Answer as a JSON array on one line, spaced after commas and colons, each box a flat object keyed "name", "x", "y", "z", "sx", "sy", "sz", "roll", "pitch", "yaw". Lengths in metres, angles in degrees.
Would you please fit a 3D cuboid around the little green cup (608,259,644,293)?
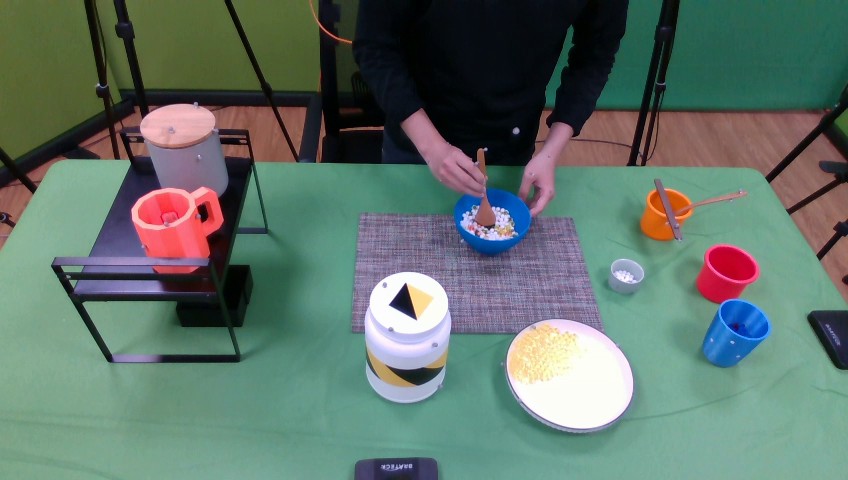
[{"name": "little green cup", "x": 0.379, "y": 0.070, "z": 1.147, "sx": 0.061, "sy": 0.039, "sz": 0.061, "roll": 3, "pitch": 45, "yaw": -2}]

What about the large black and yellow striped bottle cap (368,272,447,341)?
[{"name": "large black and yellow striped bottle cap", "x": -0.023, "y": 0.093, "z": 0.875, "sx": 0.115, "sy": 0.019, "sz": 0.114, "roll": 3, "pitch": 46, "yaw": -3}]

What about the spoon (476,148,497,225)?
[{"name": "spoon", "x": 0.111, "y": -0.096, "z": 1.140, "sx": 0.041, "sy": 0.195, "sz": 0.021, "roll": 0, "pitch": 43, "yaw": 13}]

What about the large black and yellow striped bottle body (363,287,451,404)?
[{"name": "large black and yellow striped bottle body", "x": -0.027, "y": 0.153, "z": 0.935, "sx": 0.131, "sy": 0.185, "sz": 0.130, "roll": 2, "pitch": 46, "yaw": -2}]

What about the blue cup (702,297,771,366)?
[{"name": "blue cup", "x": 0.519, "y": 0.162, "z": 1.025, "sx": 0.093, "sy": 0.101, "sz": 0.092, "roll": 3, "pitch": 45, "yaw": -3}]

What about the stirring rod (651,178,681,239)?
[{"name": "stirring rod", "x": 0.480, "y": -0.065, "z": 1.204, "sx": 0.014, "sy": 0.006, "sz": 0.175, "roll": 3, "pitch": 46, "yaw": -3}]

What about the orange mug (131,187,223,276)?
[{"name": "orange mug", "x": -0.354, "y": -0.022, "z": 0.888, "sx": 0.083, "sy": 0.101, "sz": 0.126, "roll": 31, "pitch": 55, "yaw": 24}]

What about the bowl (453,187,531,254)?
[{"name": "bowl", "x": 0.128, "y": -0.026, "z": 1.187, "sx": 0.151, "sy": 0.077, "sz": 0.150, "roll": 2, "pitch": 46, "yaw": -2}]

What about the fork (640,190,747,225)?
[{"name": "fork", "x": 0.533, "y": -0.065, "z": 1.211, "sx": 0.207, "sy": 0.019, "sz": 0.028, "roll": -22, "pitch": 28, "yaw": 39}]

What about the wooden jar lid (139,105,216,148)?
[{"name": "wooden jar lid", "x": -0.372, "y": -0.169, "z": 0.920, "sx": 0.108, "sy": 0.021, "sz": 0.107, "roll": 4, "pitch": 44, "yaw": -4}]

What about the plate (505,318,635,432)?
[{"name": "plate", "x": 0.235, "y": 0.221, "z": 0.991, "sx": 0.209, "sy": 0.038, "sz": 0.208, "roll": 2, "pitch": 46, "yaw": -2}]

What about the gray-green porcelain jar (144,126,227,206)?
[{"name": "gray-green porcelain jar", "x": -0.375, "y": -0.125, "z": 0.967, "sx": 0.106, "sy": 0.127, "sz": 0.105, "roll": 2, "pitch": 46, "yaw": -2}]
